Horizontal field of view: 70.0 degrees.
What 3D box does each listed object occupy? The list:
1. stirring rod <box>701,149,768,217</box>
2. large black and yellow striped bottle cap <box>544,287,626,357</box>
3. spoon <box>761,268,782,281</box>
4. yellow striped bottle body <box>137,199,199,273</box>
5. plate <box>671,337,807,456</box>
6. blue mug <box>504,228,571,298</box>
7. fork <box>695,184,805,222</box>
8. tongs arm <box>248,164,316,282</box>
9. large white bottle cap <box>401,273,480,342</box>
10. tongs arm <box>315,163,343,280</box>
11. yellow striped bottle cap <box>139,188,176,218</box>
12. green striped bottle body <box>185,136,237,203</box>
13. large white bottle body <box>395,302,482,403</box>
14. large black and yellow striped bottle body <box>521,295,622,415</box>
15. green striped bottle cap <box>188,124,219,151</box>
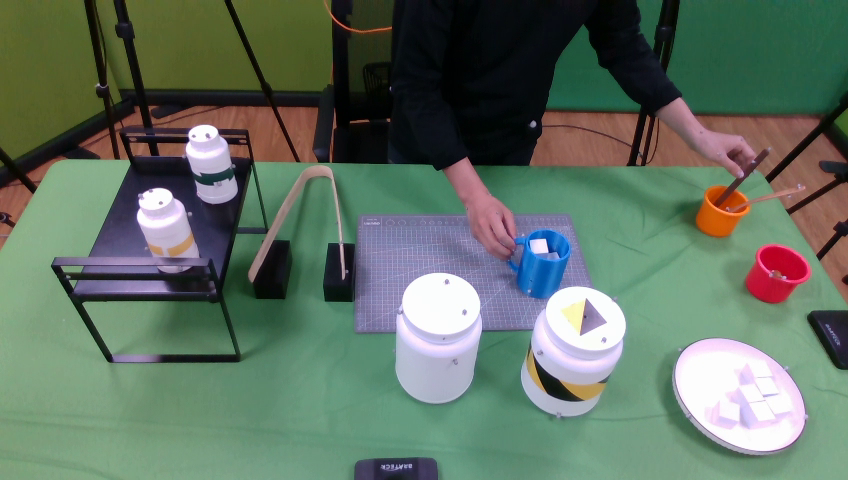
[{"bbox_3d":[0.631,-0.114,1.236,0.006,0.176,0.014,5,42,-36],"label":"stirring rod"},{"bbox_3d":[0.232,0.116,0.876,0.115,0.019,0.114,2,46,-1],"label":"large black and yellow striped bottle cap"},{"bbox_3d":[0.638,0.060,1.105,0.041,0.021,0.194,38,11,24],"label":"spoon"},{"bbox_3d":[-0.366,-0.014,0.863,0.063,0.121,0.062,2,46,-2],"label":"yellow striped bottle body"},{"bbox_3d":[0.503,0.254,0.984,0.208,0.039,0.206,2,46,-2],"label":"plate"},{"bbox_3d":[0.203,0.037,1.116,0.116,0.106,0.082,20,49,15],"label":"blue mug"},{"bbox_3d":[0.657,-0.075,1.231,0.207,0.019,0.028,-23,32,37],"label":"fork"},{"bbox_3d":[-0.269,-0.048,1.165,0.028,0.028,0.385,0,34,7],"label":"tongs arm"},{"bbox_3d":[0.024,0.095,0.878,0.115,0.018,0.114,2,47,-2],"label":"large white bottle cap"},{"bbox_3d":[-0.187,-0.049,1.170,0.051,0.026,0.382,-5,35,-6],"label":"tongs arm"},{"bbox_3d":[-0.363,-0.050,0.826,0.044,0.019,0.044,1,47,-1],"label":"yellow striped bottle cap"},{"bbox_3d":[-0.341,-0.121,0.969,0.063,0.120,0.063,2,46,-2],"label":"green striped bottle body"},{"bbox_3d":[0.020,0.153,0.940,0.131,0.185,0.130,2,46,-2],"label":"large white bottle body"},{"bbox_3d":[0.228,0.173,0.938,0.131,0.185,0.130,2,47,-2],"label":"large black and yellow striped bottle body"},{"bbox_3d":[-0.339,-0.158,0.931,0.044,0.020,0.044,4,45,-4],"label":"green striped bottle cap"}]
